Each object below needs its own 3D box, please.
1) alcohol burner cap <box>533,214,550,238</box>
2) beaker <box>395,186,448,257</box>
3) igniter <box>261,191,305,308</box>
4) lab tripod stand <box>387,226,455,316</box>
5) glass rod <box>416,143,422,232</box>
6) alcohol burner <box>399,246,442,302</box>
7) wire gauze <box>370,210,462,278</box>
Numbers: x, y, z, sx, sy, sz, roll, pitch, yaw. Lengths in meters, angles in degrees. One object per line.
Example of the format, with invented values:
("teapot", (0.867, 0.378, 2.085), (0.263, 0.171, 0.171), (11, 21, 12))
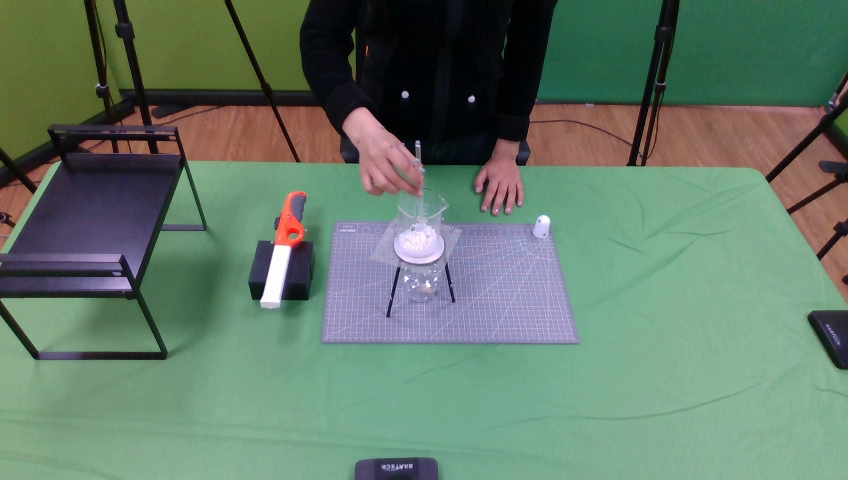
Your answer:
("alcohol burner cap", (0.241, -0.031, 1.229), (0.034, 0.048, 0.033), (1, 46, -1))
("beaker", (-0.006, -0.027, 0.985), (0.084, 0.101, 0.073), (1, 48, -4))
("igniter", (-0.255, 0.007, 1.104), (0.057, 0.025, 0.275), (5, 47, -4))
("lab tripod stand", (-0.013, 0.055, 1.064), (0.148, 0.132, 0.147), (2, 48, -2))
("glass rod", (-0.008, -0.076, 0.949), (0.008, 0.201, 0.008), (0, 52, 1))
("alcohol burner", (-0.006, 0.055, 1.078), (0.078, 0.119, 0.077), (3, 44, -3))
("wire gauze", (-0.012, 0.007, 1.019), (0.121, 0.011, 0.124), (16, 51, 13))
